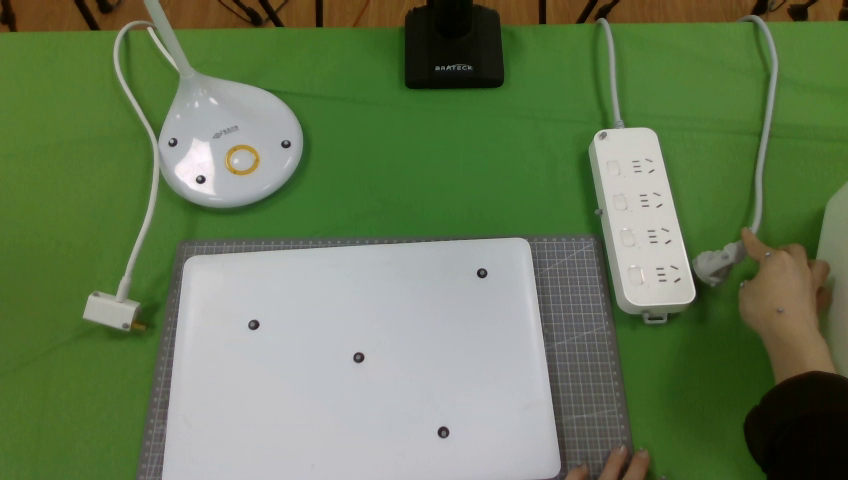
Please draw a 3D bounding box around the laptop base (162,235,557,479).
[{"bbox_3d":[-0.062,0.112,0.585,0.354,0.023,0.233,-3,69,-1],"label":"laptop base"}]

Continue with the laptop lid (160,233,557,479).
[{"bbox_3d":[-0.063,0.109,0.573,0.357,0.013,0.240,-2,68,0],"label":"laptop lid"}]

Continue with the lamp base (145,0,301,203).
[{"bbox_3d":[-0.229,-0.154,0.620,0.160,0.181,0.178,-38,67,-16],"label":"lamp base"}]

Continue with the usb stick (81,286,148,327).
[{"bbox_3d":[-0.301,0.068,0.597,0.059,0.021,0.027,23,94,-15],"label":"usb stick"}]

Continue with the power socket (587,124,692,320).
[{"bbox_3d":[0.224,-0.028,0.641,0.072,0.033,0.225,-2,65,-2],"label":"power socket"}]

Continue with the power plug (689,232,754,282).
[{"bbox_3d":[0.301,0.022,0.614,0.073,0.053,0.035,-8,65,-24],"label":"power plug"}]

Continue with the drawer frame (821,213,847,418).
[{"bbox_3d":[0.485,0.085,0.550,0.201,0.083,0.212,19,62,7],"label":"drawer frame"}]

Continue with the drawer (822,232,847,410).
[{"bbox_3d":[0.489,0.080,0.548,0.194,0.074,0.211,19,70,9],"label":"drawer"}]

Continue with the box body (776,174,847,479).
[{"bbox_3d":[0.476,0.096,0.510,0.253,0.161,0.362,21,67,10],"label":"box body"}]
